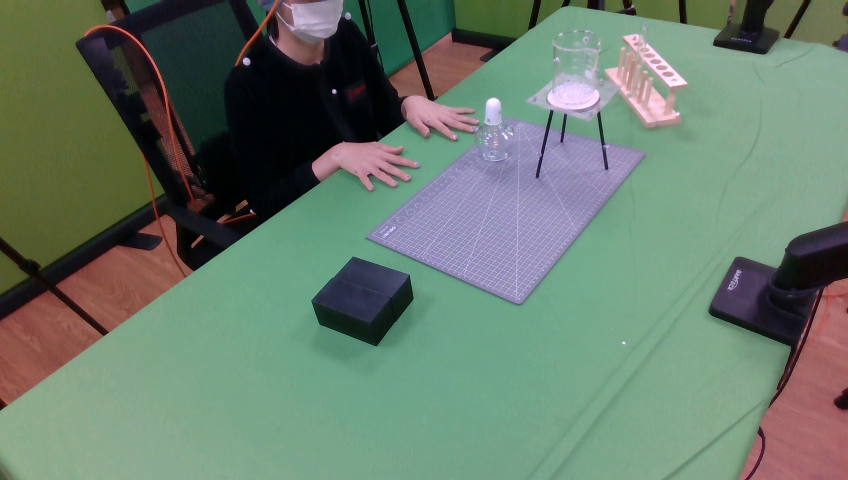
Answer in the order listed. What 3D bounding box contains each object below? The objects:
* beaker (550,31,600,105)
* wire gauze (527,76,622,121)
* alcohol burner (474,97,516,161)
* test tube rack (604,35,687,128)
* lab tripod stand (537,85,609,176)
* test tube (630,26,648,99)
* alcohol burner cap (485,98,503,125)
[{"bbox_3d":[0.250,-0.281,0.996,0.074,0.101,0.083,-37,49,-27],"label":"beaker"},{"bbox_3d":[0.255,-0.247,1.030,0.124,0.011,0.122,23,49,34],"label":"wire gauze"},{"bbox_3d":[0.131,-0.208,1.121,0.078,0.119,0.077,-6,40,5],"label":"alcohol burner"},{"bbox_3d":[0.447,-0.330,1.242,0.067,0.085,0.241,-9,41,-2],"label":"test tube rack"},{"bbox_3d":[0.259,-0.192,1.068,0.148,0.132,0.147,-4,43,4],"label":"lab tripod stand"},{"bbox_3d":[0.426,-0.350,1.199,0.017,0.151,0.017,-4,42,4],"label":"test tube"},{"bbox_3d":[0.126,-0.234,1.097,0.034,0.048,0.033,-3,39,3],"label":"alcohol burner cap"}]
